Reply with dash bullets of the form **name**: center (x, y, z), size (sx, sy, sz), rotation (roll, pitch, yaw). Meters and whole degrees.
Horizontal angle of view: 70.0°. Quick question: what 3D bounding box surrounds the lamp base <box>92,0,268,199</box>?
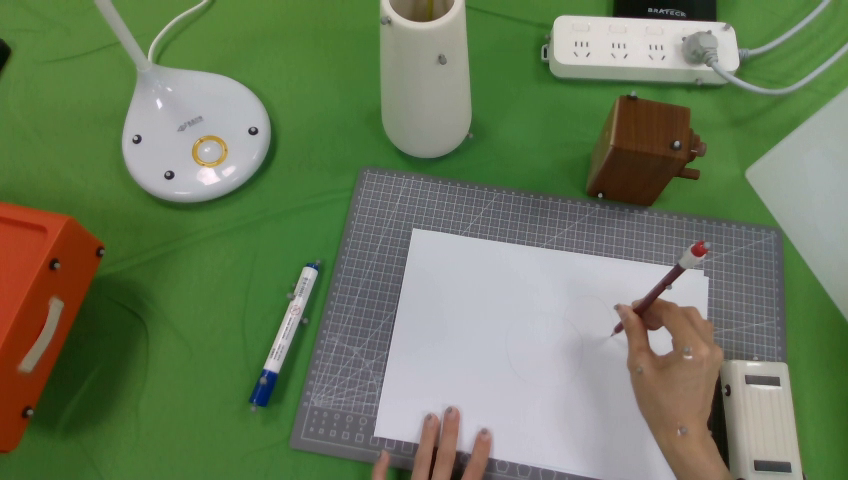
- **lamp base**: center (-0.264, -0.154, 0.601), size (0.178, 0.181, 0.160), rotation (41, 74, 18)

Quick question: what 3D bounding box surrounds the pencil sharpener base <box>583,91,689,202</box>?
- **pencil sharpener base**: center (0.211, -0.090, 0.609), size (0.076, 0.108, 0.061), rotation (11, 68, 5)

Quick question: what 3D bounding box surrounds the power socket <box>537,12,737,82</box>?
- **power socket**: center (0.246, -0.223, 0.701), size (0.227, 0.033, 0.071), rotation (3, 69, 2)

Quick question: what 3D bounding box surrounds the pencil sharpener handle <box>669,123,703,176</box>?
- **pencil sharpener handle**: center (0.261, -0.085, 0.593), size (0.030, 0.068, 0.036), rotation (11, 67, 5)

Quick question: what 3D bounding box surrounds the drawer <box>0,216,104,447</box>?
- **drawer**: center (-0.424, 0.057, 0.525), size (0.211, 0.074, 0.193), rotation (12, 70, 5)

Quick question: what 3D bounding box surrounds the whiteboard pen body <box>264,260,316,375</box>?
- **whiteboard pen body**: center (-0.133, 0.083, 0.589), size (0.017, 0.017, 0.140), rotation (13, 65, 7)

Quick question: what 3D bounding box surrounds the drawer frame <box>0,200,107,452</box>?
- **drawer frame**: center (-0.430, 0.059, 0.527), size (0.213, 0.083, 0.200), rotation (12, 70, 3)

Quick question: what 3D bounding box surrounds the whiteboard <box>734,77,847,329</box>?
- **whiteboard**: center (0.484, -0.075, 0.526), size (0.144, 0.307, 0.215), rotation (-14, 67, -25)

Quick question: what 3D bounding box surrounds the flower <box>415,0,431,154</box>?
- **flower**: center (0.004, -0.214, 0.523), size (0.038, 0.365, 0.043), rotation (-3, 50, -8)

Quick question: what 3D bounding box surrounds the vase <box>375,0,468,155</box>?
- **vase**: center (-0.004, -0.167, 0.593), size (0.098, 0.201, 0.097), rotation (-1, 67, 2)

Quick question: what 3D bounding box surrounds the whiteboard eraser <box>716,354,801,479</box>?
- **whiteboard eraser**: center (0.296, 0.160, 0.541), size (0.055, 0.042, 0.112), rotation (4, 68, 1)

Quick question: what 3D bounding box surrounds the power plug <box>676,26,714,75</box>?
- **power plug**: center (0.295, -0.202, 0.667), size (0.035, 0.053, 0.072), rotation (13, 70, 7)

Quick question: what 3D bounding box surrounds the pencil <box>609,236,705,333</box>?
- **pencil**: center (0.186, 0.045, 0.503), size (0.012, 0.195, 0.012), rotation (1, 63, -2)

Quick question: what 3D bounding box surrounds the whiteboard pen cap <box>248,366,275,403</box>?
- **whiteboard pen cap**: center (-0.150, 0.134, 0.565), size (0.018, 0.018, 0.033), rotation (14, 64, 7)
